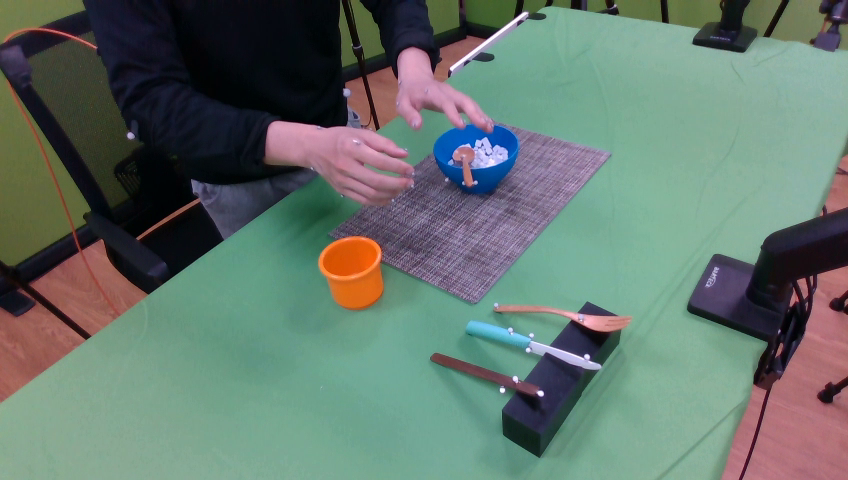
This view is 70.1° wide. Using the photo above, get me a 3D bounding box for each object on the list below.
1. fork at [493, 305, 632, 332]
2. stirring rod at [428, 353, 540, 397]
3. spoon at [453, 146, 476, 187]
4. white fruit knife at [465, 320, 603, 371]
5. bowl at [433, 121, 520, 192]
[{"bbox_3d":[0.171,0.097,0.782,0.205,0.019,0.028,4,40,43],"label":"fork"},{"bbox_3d":[0.068,0.162,0.736,0.174,0.006,0.014,8,40,47],"label":"stirring rod"},{"bbox_3d":[0.069,-0.124,1.001,0.041,0.022,0.193,-9,21,5],"label":"spoon"},{"bbox_3d":[0.128,0.129,0.749,0.205,0.027,0.016,10,45,43],"label":"white fruit knife"},{"bbox_3d":[0.093,-0.137,1.064,0.151,0.077,0.150,-4,41,4],"label":"bowl"}]
